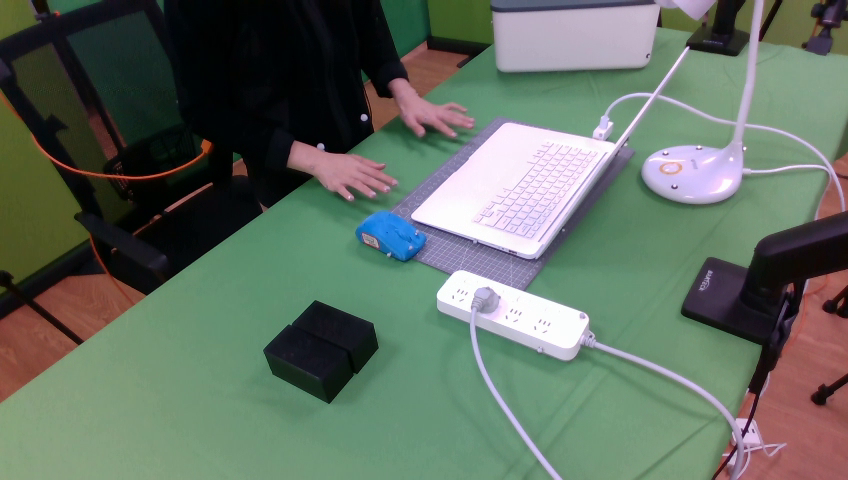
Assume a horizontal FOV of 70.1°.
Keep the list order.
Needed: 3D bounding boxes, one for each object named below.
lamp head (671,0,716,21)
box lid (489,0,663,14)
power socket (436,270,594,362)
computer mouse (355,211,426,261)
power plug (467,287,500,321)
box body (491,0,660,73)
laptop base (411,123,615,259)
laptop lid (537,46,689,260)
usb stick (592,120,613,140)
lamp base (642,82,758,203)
[{"bbox_3d":[0.375,-0.373,0.807,0.122,0.113,0.112,-40,27,32],"label":"lamp head"},{"bbox_3d":[0.341,-0.576,1.380,0.371,0.015,0.262,0,41,10],"label":"box lid"},{"bbox_3d":[0.118,0.101,0.832,0.225,0.033,0.072,19,48,27],"label":"power socket"},{"bbox_3d":[-0.055,-0.010,0.980,0.116,0.041,0.063,27,50,29],"label":"computer mouse"},{"bbox_3d":[0.073,0.092,0.814,0.035,0.053,0.073,29,54,34],"label":"power plug"},{"bbox_3d":[0.347,-0.521,1.429,0.363,0.161,0.253,1,41,9],"label":"box body"},{"bbox_3d":[0.168,-0.101,1.073,0.234,0.023,0.355,17,46,30],"label":"laptop base"},{"bbox_3d":[0.293,-0.136,0.927,0.013,0.241,0.357,35,51,10],"label":"laptop lid"},{"bbox_3d":[0.336,-0.201,1.146,0.021,0.027,0.059,26,53,27],"label":"usb stick"},{"bbox_3d":[0.464,-0.174,0.992,0.179,0.181,0.159,-5,41,-1],"label":"lamp base"}]
